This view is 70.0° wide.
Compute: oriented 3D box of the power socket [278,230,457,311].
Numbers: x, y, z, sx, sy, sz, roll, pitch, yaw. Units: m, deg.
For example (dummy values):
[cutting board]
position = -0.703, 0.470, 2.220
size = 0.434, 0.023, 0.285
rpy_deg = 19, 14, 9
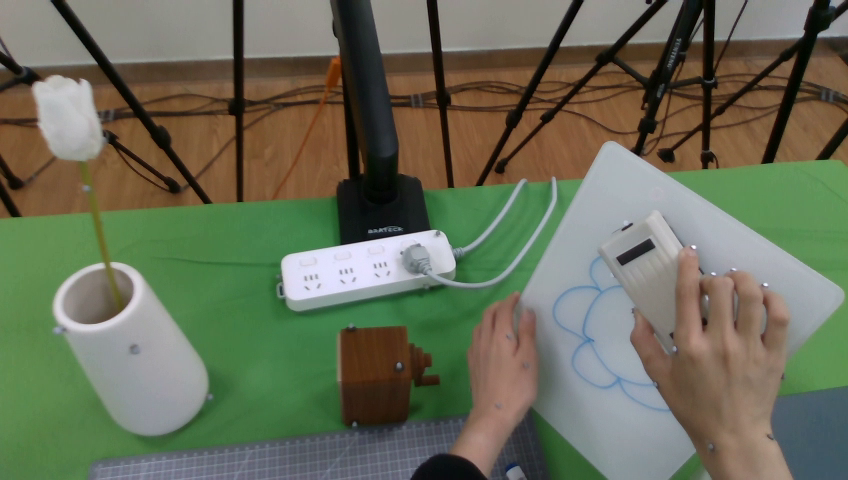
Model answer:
[power socket]
position = -0.067, 0.036, 0.751
size = 0.227, 0.033, 0.071
rpy_deg = -9, 53, -12

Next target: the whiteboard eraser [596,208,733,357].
[whiteboard eraser]
position = 0.193, 0.034, 0.489
size = 0.112, 0.055, 0.042
rpy_deg = 57, 27, 4

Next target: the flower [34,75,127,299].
[flower]
position = -0.260, 0.040, 0.520
size = 0.038, 0.364, 0.043
rpy_deg = -13, 35, -23

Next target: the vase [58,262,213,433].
[vase]
position = -0.269, 0.106, 0.573
size = 0.098, 0.202, 0.097
rpy_deg = 1, 51, -1

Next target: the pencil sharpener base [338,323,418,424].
[pencil sharpener base]
position = -0.046, 0.138, 0.623
size = 0.077, 0.108, 0.060
rpy_deg = -3, 51, -7

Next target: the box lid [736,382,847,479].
[box lid]
position = 0.414, 0.264, 0.426
size = 0.264, 0.015, 0.367
rpy_deg = -5, 52, -9

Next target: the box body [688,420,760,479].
[box body]
position = 0.409, 0.313, 0.483
size = 0.255, 0.162, 0.360
rpy_deg = -5, 52, -9

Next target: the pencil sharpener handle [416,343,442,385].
[pencil sharpener handle]
position = 0.005, 0.128, 0.620
size = 0.031, 0.068, 0.035
rpy_deg = -3, 51, -7

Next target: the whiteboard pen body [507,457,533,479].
[whiteboard pen body]
position = 0.122, 0.272, 0.578
size = 0.017, 0.017, 0.139
rpy_deg = -20, 53, -19

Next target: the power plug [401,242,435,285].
[power plug]
position = -0.008, 0.035, 0.726
size = 0.035, 0.053, 0.072
rpy_deg = -2, 53, -5

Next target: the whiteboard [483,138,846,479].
[whiteboard]
position = 0.232, 0.072, 0.610
size = 0.144, 0.307, 0.215
rpy_deg = -21, 53, -43
